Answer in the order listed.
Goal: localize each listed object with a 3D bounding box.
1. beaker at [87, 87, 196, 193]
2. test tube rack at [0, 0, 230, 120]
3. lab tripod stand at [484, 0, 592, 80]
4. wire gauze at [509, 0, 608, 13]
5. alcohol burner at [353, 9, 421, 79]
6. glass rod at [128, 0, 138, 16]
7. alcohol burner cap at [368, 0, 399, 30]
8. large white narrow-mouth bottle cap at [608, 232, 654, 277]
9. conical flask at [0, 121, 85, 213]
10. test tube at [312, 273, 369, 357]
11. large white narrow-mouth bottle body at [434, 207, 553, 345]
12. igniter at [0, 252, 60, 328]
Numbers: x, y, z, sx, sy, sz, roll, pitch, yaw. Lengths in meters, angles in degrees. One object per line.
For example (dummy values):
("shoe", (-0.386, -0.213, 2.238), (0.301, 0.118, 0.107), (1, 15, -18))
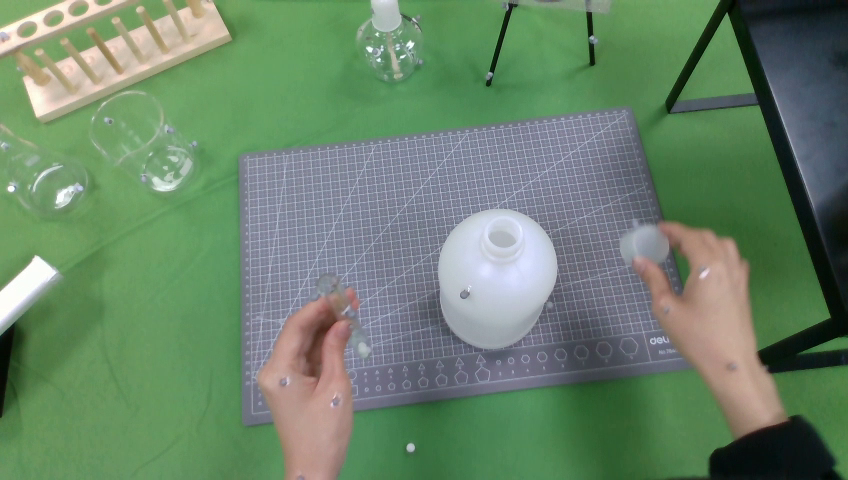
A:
("beaker", (-0.293, -0.098, 0.641), (0.074, 0.101, 0.083), (7, 70, 5))
("test tube rack", (-0.362, -0.236, 0.701), (0.242, 0.086, 0.066), (-27, 71, -8))
("lab tripod stand", (0.126, -0.256, 0.668), (0.148, 0.132, 0.147), (0, 68, 1))
("wire gauze", (0.131, -0.283, 0.605), (0.121, 0.011, 0.124), (14, 71, 5))
("alcohol burner", (-0.043, -0.237, 0.677), (0.078, 0.120, 0.077), (0, 67, 1))
("glass rod", (-0.346, -0.296, 0.652), (0.008, 0.201, 0.008), (-4, 64, 8))
("alcohol burner cap", (-0.045, -0.251, 0.643), (0.034, 0.048, 0.033), (0, 68, 1))
("large white narrow-mouth bottle cap", (0.183, 0.012, 0.534), (0.038, 0.024, 0.037), (-1, 71, 2))
("conical flask", (-0.418, -0.083, 0.626), (0.075, 0.122, 0.075), (-1, 69, 2))
("test tube", (-0.061, 0.063, 0.466), (0.017, 0.151, 0.017), (-2, 62, 4))
("large white narrow-mouth bottle body", (0.060, 0.028, 0.530), (0.102, 0.196, 0.101), (-1, 71, 2))
("igniter", (-0.454, 0.122, 0.552), (0.057, 0.025, 0.276), (36, 71, 12))
